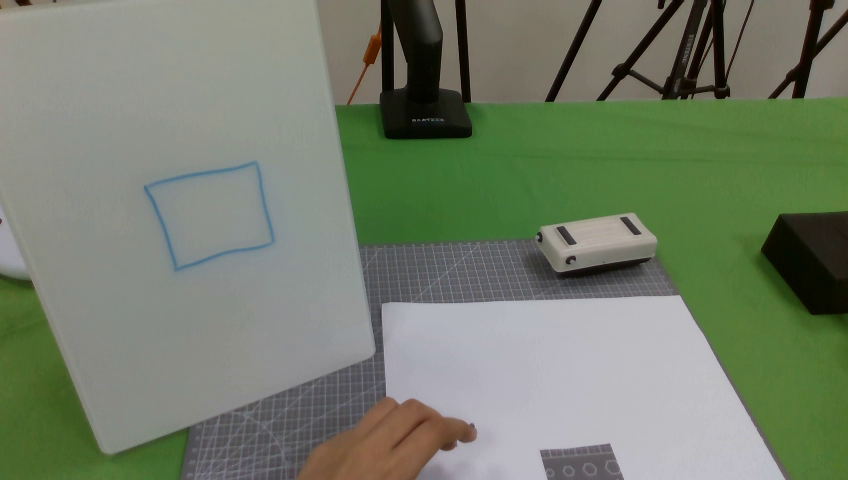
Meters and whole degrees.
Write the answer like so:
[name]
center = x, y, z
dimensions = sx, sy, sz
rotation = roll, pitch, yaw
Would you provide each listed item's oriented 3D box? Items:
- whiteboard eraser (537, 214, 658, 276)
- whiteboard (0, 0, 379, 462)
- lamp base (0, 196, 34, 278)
[whiteboard eraser]
center = 0.179, 0.007, 0.626
dimensions = 0.113, 0.042, 0.055
rotation = -8, 42, -14
[whiteboard]
center = -0.180, -0.028, 0.478
dimensions = 0.218, 0.307, 0.142
rotation = -17, 25, -22
[lamp base]
center = -0.369, -0.081, 0.577
dimensions = 0.178, 0.182, 0.160
rotation = 24, 44, 26
